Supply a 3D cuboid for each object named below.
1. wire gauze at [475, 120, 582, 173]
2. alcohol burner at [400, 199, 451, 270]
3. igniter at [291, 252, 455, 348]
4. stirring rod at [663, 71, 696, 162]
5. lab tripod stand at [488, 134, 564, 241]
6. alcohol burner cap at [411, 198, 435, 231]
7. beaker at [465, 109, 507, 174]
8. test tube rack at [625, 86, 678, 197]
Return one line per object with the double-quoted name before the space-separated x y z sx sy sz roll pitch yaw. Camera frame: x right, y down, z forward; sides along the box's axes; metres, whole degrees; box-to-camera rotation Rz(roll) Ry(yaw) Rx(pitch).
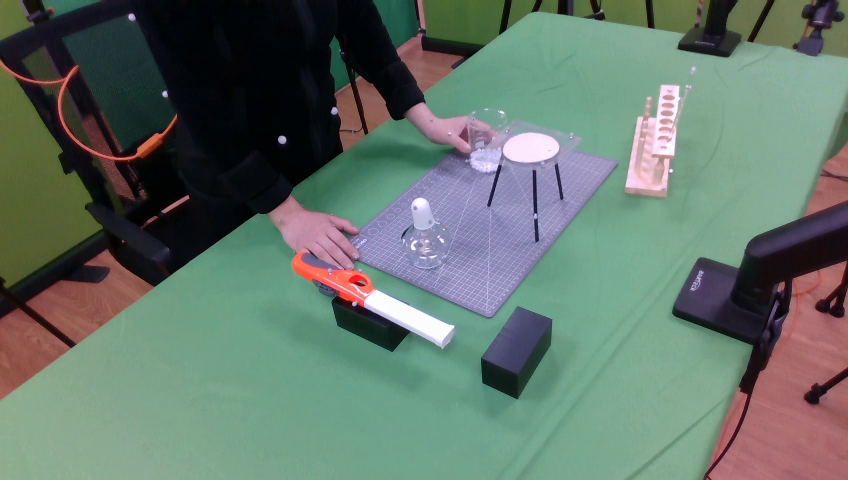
"wire gauze" 0.161 -0.143 0.928 0.120 0.011 0.125 20 47 31
"alcohol burner" 0.000 -0.013 0.917 0.078 0.119 0.077 -5 41 5
"igniter" -0.080 0.076 0.822 0.274 0.025 0.057 23 45 27
"stirring rod" 0.410 -0.195 0.981 0.014 0.177 0.006 11 50 14
"lab tripod stand" 0.168 -0.092 0.972 0.148 0.132 0.147 -5 41 5
"alcohol burner cap" -0.003 -0.041 0.893 0.034 0.048 0.033 -7 41 7
"beaker" 0.118 -0.180 1.109 0.084 0.100 0.073 -27 45 -23
"test tube rack" 0.412 -0.184 1.088 0.066 0.085 0.242 9 43 18
